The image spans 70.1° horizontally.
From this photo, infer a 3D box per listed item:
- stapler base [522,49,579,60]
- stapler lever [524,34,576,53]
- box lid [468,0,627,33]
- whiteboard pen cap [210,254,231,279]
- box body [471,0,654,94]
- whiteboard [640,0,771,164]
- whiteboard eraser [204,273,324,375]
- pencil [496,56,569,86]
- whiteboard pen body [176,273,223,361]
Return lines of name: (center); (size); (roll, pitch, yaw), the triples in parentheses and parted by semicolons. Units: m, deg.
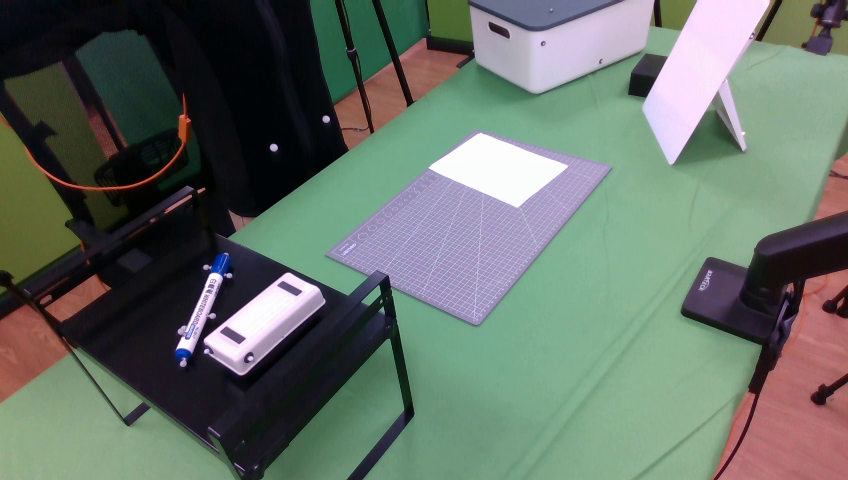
stapler base: (0.300, -0.442, 1.433); (0.130, 0.024, 0.041); (3, 20, 18)
stapler lever: (0.297, -0.463, 1.425); (0.117, 0.040, 0.027); (5, 21, 17)
box lid: (0.312, -0.554, 1.358); (0.373, 0.015, 0.261); (-26, 44, -20)
whiteboard pen cap: (-0.234, 0.032, 0.695); (0.018, 0.018, 0.033); (-4, 40, 4)
box body: (0.319, -0.498, 1.405); (0.365, 0.161, 0.252); (-26, 43, -21)
whiteboard: (0.543, -0.299, 1.076); (0.144, 0.305, 0.216); (12, 40, -7)
whiteboard eraser: (-0.157, 0.084, 0.605); (0.055, 0.042, 0.113); (24, 49, 30)
pencil: (0.248, -0.393, 1.398); (0.193, 0.012, 0.012); (30, 52, 24)
whiteboard pen body: (-0.237, 0.072, 0.652); (0.017, 0.017, 0.140); (-3, 40, 5)
